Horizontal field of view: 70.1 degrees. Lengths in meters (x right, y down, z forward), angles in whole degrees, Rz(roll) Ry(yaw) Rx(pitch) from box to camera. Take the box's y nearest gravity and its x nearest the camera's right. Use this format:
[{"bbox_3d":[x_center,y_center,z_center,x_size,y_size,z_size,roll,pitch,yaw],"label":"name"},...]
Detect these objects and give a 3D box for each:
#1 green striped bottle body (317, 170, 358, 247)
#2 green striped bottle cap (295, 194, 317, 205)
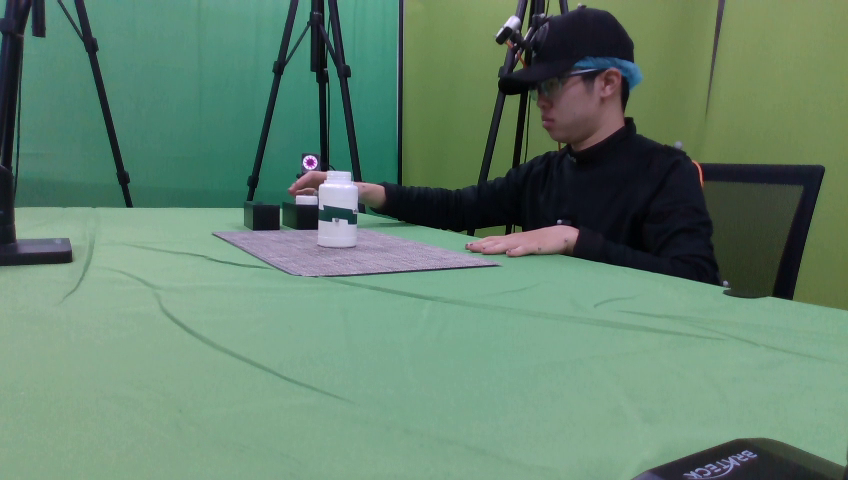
[{"bbox_3d":[-0.138,-0.051,0.964,0.063,0.119,0.063,2,7,0],"label":"green striped bottle body"},{"bbox_3d":[-0.240,-0.082,1.228,0.044,0.020,0.044,1,6,0],"label":"green striped bottle cap"}]
